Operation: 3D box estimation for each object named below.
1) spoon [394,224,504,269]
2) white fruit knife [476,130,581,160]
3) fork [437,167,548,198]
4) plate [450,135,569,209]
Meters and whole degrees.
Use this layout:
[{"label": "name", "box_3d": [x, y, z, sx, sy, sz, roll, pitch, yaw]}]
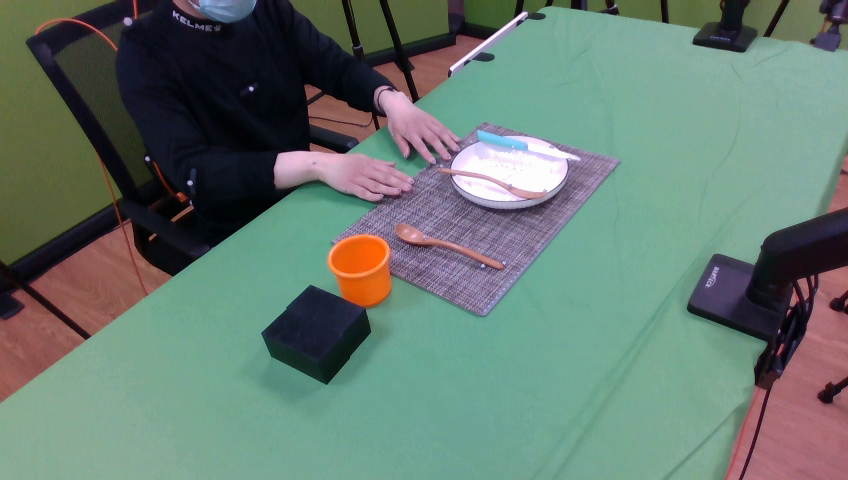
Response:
[{"label": "spoon", "box_3d": [0.037, 0.010, 0.945, 0.192, 0.022, 0.042, 17, 28, 26]}, {"label": "white fruit knife", "box_3d": [0.184, -0.170, 1.089, 0.206, 0.016, 0.027, 18, 43, 25]}, {"label": "fork", "box_3d": [0.110, -0.099, 1.017, 0.206, 0.019, 0.028, 20, 36, 26]}, {"label": "plate", "box_3d": [0.149, -0.117, 1.065, 0.209, 0.038, 0.208, -3, 41, 3]}]
